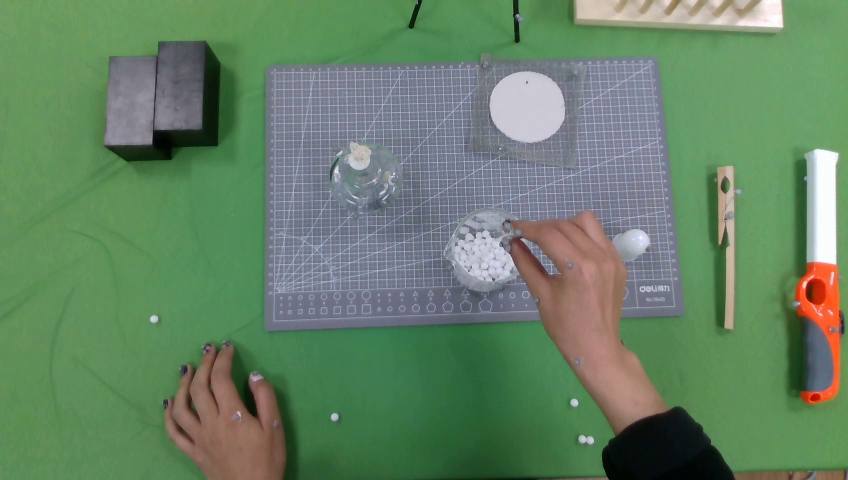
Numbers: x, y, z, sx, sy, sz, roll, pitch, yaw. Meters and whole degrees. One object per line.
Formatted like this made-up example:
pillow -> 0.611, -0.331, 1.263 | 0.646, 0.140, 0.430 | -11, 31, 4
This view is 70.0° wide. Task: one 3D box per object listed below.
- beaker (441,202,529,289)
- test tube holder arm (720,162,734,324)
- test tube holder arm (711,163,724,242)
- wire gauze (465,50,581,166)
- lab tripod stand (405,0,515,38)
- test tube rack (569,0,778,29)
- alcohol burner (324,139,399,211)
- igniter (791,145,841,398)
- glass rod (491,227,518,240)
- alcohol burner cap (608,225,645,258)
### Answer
beaker -> 0.057, 0.011, 0.612 | 0.084, 0.100, 0.073 | -10, 80, -2
test tube holder arm -> 0.330, 0.003, 0.662 | 0.013, 0.015, 0.177 | -5, 78, 34
test tube holder arm -> 0.327, -0.041, 0.673 | 0.010, 0.015, 0.087 | -4, 79, 34
wire gauze -> 0.113, -0.152, 0.688 | 0.125, 0.011, 0.121 | 9, 81, -1
lab tripod stand -> 0.047, -0.288, 0.648 | 0.148, 0.132, 0.148 | 0, 82, -1
test tube rack -> 0.293, -0.293, 0.679 | 0.242, 0.085, 0.066 | 2, 80, -1
alcohol burner -> -0.065, -0.071, 0.615 | 0.078, 0.119, 0.077 | 0, 79, 1
igniter -> 0.425, 0.031, 0.657 | 0.057, 0.025, 0.275 | 8, 80, -10
glass rod -> 0.072, -0.005, 0.560 | 0.008, 0.200, 0.008 | 0, 89, 2
alcohol burner cap -> 0.219, -0.001, 0.647 | 0.034, 0.048, 0.033 | 0, 80, -1
